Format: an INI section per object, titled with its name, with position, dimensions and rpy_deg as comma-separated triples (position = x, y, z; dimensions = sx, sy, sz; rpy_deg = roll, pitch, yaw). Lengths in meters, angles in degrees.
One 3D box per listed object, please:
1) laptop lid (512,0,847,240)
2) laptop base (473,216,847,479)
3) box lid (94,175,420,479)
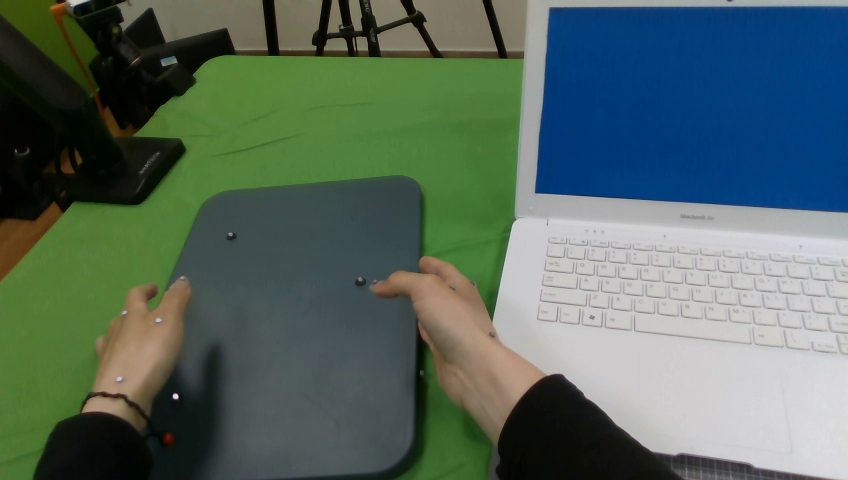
[laptop lid]
position = 0.262, -0.116, 0.556
dimensions = 0.355, 0.242, 0.013
rpy_deg = 3, 16, 14
[laptop base]
position = 0.233, 0.078, 0.511
dimensions = 0.353, 0.023, 0.233
rpy_deg = 5, 49, 14
[box lid]
position = -0.135, 0.063, 0.591
dimensions = 0.263, 0.015, 0.367
rpy_deg = -5, 43, 5
